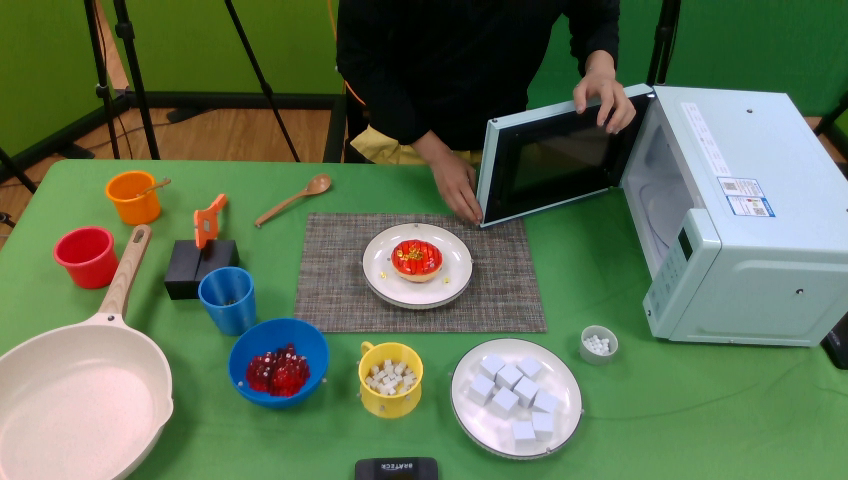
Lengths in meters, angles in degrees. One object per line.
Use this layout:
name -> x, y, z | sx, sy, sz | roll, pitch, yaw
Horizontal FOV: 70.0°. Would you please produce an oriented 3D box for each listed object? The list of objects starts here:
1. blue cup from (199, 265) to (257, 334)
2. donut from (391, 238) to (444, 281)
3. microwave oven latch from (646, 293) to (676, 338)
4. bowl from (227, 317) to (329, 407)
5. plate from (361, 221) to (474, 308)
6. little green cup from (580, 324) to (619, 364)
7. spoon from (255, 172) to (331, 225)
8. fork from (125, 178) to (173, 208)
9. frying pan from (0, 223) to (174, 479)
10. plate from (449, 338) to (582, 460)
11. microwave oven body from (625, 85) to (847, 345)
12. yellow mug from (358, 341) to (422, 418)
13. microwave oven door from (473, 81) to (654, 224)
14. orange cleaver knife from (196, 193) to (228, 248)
blue cup -> -0.320, 0.106, 1.015 | 0.093, 0.101, 0.092 | 2, 48, -2
donut -> -0.012, 0.035, 1.128 | 0.099, 0.048, 0.098 | 3, 43, -3
microwave oven latch -> 0.412, 0.133, 1.060 | 0.030, 0.029, 0.078 | 3, 46, 0
bowl -> -0.222, 0.203, 0.947 | 0.151, 0.077, 0.150 | 2, 46, -2
plate -> -0.011, 0.049, 1.130 | 0.209, 0.038, 0.208 | 2, 46, -2
little green cup -> 0.295, 0.179, 1.031 | 0.061, 0.039, 0.061 | 2, 45, -2
spoon -> -0.272, -0.087, 1.256 | 0.041, 0.022, 0.193 | 43, 57, 17
fork -> -0.525, -0.090, 1.154 | 0.207, 0.019, 0.028 | -17, 27, 45
frying pan -> -0.504, 0.169, 0.941 | 0.307, 0.103, 0.485 | 5, 54, -1
plate -> 0.141, 0.251, 0.955 | 0.208, 0.039, 0.206 | 2, 47, -2
microwave oven body -> 0.568, -0.054, 1.116 | 0.326, 0.261, 0.439 | 2, 46, -1
yellow mug -> -0.063, 0.210, 0.961 | 0.100, 0.064, 0.130 | -29, 54, -28
microwave oven door -> 0.274, -0.172, 1.200 | 0.356, 0.245, 0.039 | -17, 50, -19
orange cleaver knife -> -0.406, -0.041, 1.163 | 0.012, 0.077, 0.210 | 0, 18, -4
